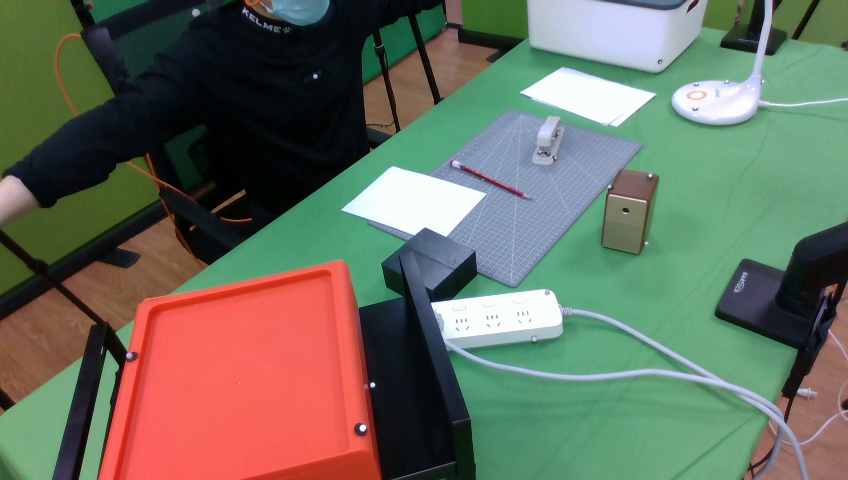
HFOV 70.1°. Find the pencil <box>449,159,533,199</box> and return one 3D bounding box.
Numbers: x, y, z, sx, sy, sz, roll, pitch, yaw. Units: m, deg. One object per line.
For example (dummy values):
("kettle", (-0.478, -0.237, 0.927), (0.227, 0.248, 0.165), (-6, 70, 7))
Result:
("pencil", (0.118, -0.110, 1.091), (0.192, 0.012, 0.012), (30, 53, 34))

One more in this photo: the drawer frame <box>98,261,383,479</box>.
("drawer frame", (-0.148, 0.129, 0.519), (0.202, 0.083, 0.212), (-12, 41, -6))

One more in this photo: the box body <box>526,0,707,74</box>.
("box body", (0.450, -0.540, 1.430), (0.361, 0.161, 0.255), (24, 50, 31))

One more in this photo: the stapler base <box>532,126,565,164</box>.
("stapler base", (0.239, -0.189, 1.155), (0.041, 0.024, 0.130), (10, 42, 18))

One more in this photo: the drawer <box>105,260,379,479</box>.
("drawer", (-0.150, 0.127, 0.525), (0.195, 0.073, 0.210), (-11, 41, -5))

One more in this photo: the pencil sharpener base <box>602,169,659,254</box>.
("pencil sharpener base", (0.312, -0.044, 0.913), (0.061, 0.107, 0.077), (14, 45, 24))

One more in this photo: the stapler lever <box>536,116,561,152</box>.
("stapler lever", (0.236, -0.209, 1.140), (0.026, 0.040, 0.118), (10, 43, 18))

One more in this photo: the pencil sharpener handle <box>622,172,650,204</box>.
("pencil sharpener handle", (0.328, -0.086, 0.940), (0.036, 0.068, 0.030), (29, 49, 8))

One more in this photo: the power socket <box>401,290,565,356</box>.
("power socket", (0.080, 0.112, 0.822), (0.227, 0.033, 0.072), (-6, 41, 0))

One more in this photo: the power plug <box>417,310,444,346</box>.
("power plug", (0.006, 0.122, 0.785), (0.035, 0.053, 0.072), (-1, 40, 8))

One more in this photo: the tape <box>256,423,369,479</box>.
("tape", (-0.121, 0.262, 0.660), (0.117, 0.053, 0.116), (-4, 40, 4))

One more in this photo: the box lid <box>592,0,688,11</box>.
("box lid", (0.441, -0.596, 1.383), (0.368, 0.015, 0.264), (24, 49, 31))

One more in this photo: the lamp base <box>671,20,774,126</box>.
("lamp base", (0.581, -0.332, 1.154), (0.179, 0.181, 0.160), (2, 41, 7))
